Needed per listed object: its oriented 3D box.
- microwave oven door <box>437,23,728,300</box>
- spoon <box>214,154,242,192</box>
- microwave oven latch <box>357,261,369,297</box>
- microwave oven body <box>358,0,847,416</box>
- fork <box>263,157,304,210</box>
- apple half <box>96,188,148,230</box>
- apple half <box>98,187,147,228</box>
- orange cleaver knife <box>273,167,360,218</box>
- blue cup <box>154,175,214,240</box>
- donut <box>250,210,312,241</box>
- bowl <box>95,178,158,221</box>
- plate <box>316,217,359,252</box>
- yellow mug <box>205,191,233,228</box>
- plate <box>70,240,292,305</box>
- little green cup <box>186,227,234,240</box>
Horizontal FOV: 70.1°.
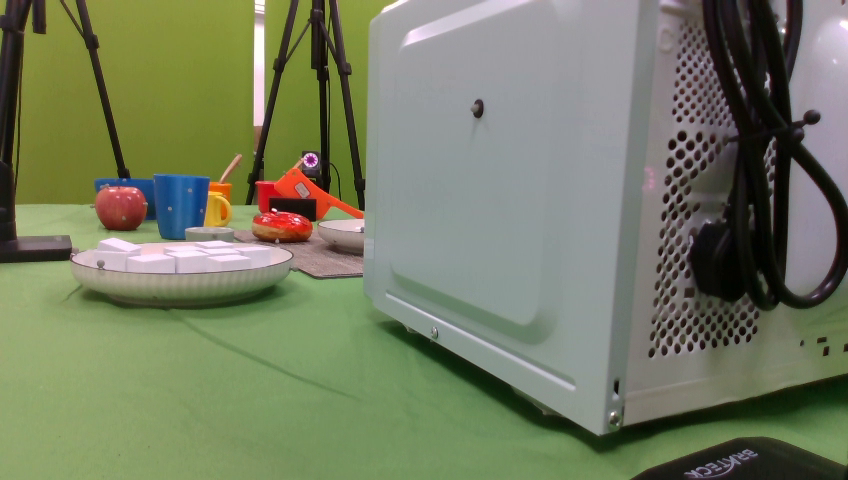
[{"bbox_3d":[0.181,-0.072,0.621,0.358,0.243,0.039,-2,8,-29],"label":"microwave oven door"},{"bbox_3d":[-0.439,-0.124,1.317,0.041,0.193,0.022,5,-37,16],"label":"spoon"},{"bbox_3d":[-0.019,0.033,0.531,0.079,0.029,0.030,-1,7,-27],"label":"microwave oven latch"},{"bbox_3d":[0.211,-0.047,0.474,0.444,0.260,0.324,-1,7,-28],"label":"microwave oven body"},{"bbox_3d":[-0.345,-0.143,1.505,0.028,0.019,0.207,-5,45,29],"label":"fork"},{"bbox_3d":[-0.517,-0.052,1.036,0.081,0.074,0.053,3,10,-26],"label":"apple half"},{"bbox_3d":[-0.534,-0.059,1.071,0.082,0.081,0.032,-1,12,-25],"label":"apple half"},{"bbox_3d":[-0.238,-0.091,1.381,0.212,0.077,0.012,31,0,-19],"label":"orange cleaver knife"},{"bbox_3d":[-0.390,-0.053,0.978,0.093,0.100,0.092,3,6,0],"label":"blue cup"},{"bbox_3d":[-0.231,-0.022,0.983,0.099,0.048,0.099,5,7,0],"label":"donut"},{"bbox_3d":[-0.576,-0.081,1.217,0.151,0.077,0.151,3,8,0],"label":"bowl"},{"bbox_3d":[-0.064,-0.007,0.943,0.209,0.038,0.209,3,8,0],"label":"plate"},{"bbox_3d":[-0.415,-0.057,1.132,0.130,0.064,0.100,6,8,16],"label":"yellow mug"},{"bbox_3d":[-0.242,0.031,0.618,0.208,0.039,0.207,2,8,0],"label":"plate"},{"bbox_3d":[-0.284,0.005,0.805,0.061,0.038,0.061,2,8,0],"label":"little green cup"}]
